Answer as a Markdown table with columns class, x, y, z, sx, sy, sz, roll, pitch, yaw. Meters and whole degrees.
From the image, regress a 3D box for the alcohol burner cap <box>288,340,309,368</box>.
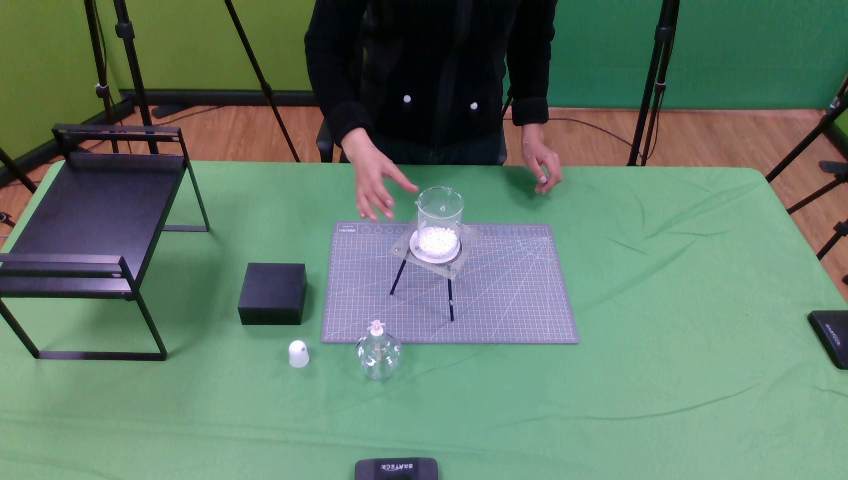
| class | x | y | z | sx | sy | sz | roll | pitch | yaw |
| --- | --- | --- | --- | --- | --- | --- | --- | --- | --- |
| alcohol burner cap | -0.207 | 0.183 | 0.991 | 0.034 | 0.048 | 0.033 | 2 | 47 | -2 |

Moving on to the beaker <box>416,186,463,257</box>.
| class | x | y | z | sx | sy | sz | roll | pitch | yaw |
| --- | --- | --- | --- | --- | --- | --- | --- | --- | --- |
| beaker | 0.024 | -0.029 | 0.984 | 0.074 | 0.101 | 0.083 | 19 | 49 | 14 |

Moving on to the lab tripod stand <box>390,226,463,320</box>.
| class | x | y | z | sx | sy | sz | roll | pitch | yaw |
| --- | --- | --- | --- | --- | --- | --- | --- | --- | --- |
| lab tripod stand | 0.014 | 0.053 | 1.063 | 0.148 | 0.132 | 0.147 | 1 | 48 | -1 |

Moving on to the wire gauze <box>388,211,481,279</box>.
| class | x | y | z | sx | sy | sz | roll | pitch | yaw |
| --- | --- | --- | --- | --- | --- | --- | --- | --- | --- |
| wire gauze | 0.018 | 0.003 | 1.020 | 0.125 | 0.011 | 0.121 | 20 | 47 | 18 |

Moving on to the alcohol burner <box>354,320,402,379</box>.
| class | x | y | z | sx | sy | sz | roll | pitch | yaw |
| --- | --- | --- | --- | --- | --- | --- | --- | --- | --- |
| alcohol burner | -0.074 | 0.169 | 0.964 | 0.078 | 0.120 | 0.077 | 1 | 46 | -1 |
